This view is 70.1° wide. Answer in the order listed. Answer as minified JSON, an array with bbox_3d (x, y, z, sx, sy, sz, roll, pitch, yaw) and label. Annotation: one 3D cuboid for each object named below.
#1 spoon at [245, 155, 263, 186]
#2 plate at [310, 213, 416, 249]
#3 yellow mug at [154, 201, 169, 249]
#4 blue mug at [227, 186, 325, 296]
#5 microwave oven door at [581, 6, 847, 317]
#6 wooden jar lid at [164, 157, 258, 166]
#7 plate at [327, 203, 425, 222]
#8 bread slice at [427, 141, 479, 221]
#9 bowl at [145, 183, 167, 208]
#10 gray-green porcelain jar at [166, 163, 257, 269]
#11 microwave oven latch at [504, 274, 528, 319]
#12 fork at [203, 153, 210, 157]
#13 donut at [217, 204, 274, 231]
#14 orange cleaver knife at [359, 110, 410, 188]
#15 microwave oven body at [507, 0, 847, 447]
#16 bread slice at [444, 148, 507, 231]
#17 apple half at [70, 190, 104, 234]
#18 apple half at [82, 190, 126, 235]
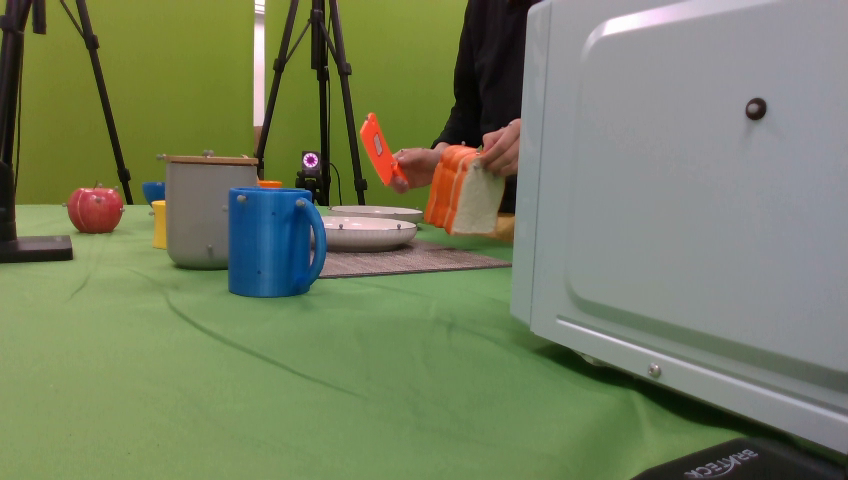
[{"bbox_3d":[-0.421,-0.150,1.540,0.042,0.021,0.193,-5,55,-37],"label":"spoon"},{"bbox_3d":[-0.117,-0.014,0.967,0.208,0.039,0.207,2,7,0],"label":"plate"},{"bbox_3d":[-0.337,-0.022,0.899,0.130,0.064,0.100,8,9,35],"label":"yellow mug"},{"bbox_3d":[-0.146,0.000,0.618,0.116,0.106,0.083,7,9,32],"label":"blue mug"},{"bbox_3d":[0.295,-0.067,0.569,0.358,0.243,0.039,-3,8,-31],"label":"microwave oven door"},{"bbox_3d":[-0.261,-0.093,0.746,0.108,0.020,0.108,0,9,0],"label":"wooden jar lid"},{"bbox_3d":[-0.102,-0.053,1.299,0.209,0.038,0.209,2,8,0],"label":"plate"},{"bbox_3d":[0.056,-0.095,0.991,0.105,0.131,0.019,1,14,-41],"label":"bread slice"},{"bbox_3d":[-0.459,-0.068,1.175,0.151,0.077,0.151,2,7,0],"label":"bowl"},{"bbox_3d":[-0.263,-0.031,0.754,0.106,0.126,0.106,2,7,0],"label":"gray-green porcelain jar"},{"bbox_3d":[0.100,0.041,0.471,0.079,0.029,0.030,-1,7,-27],"label":"microwave oven latch"},{"bbox_3d":[-0.480,-0.134,1.411,0.028,0.018,0.207,1,-35,0],"label":"fork"},{"bbox_3d":[-0.317,-0.038,1.081,0.099,0.048,0.099,3,7,0],"label":"donut"},{"bbox_3d":[-0.066,-0.140,1.056,0.012,0.077,0.212,-3,-31,19],"label":"orange cleaver knife"},{"bbox_3d":[0.331,-0.042,0.425,0.444,0.260,0.324,-2,8,-31],"label":"microwave oven body"},{"bbox_3d":[0.084,-0.078,0.955,0.107,0.134,0.018,-5,23,-41],"label":"bread slice"},{"bbox_3d":[-0.552,-0.048,1.010,0.053,0.074,0.081,-1,9,26],"label":"apple half"},{"bbox_3d":[-0.516,-0.046,0.994,0.032,0.081,0.081,0,6,26],"label":"apple half"}]
